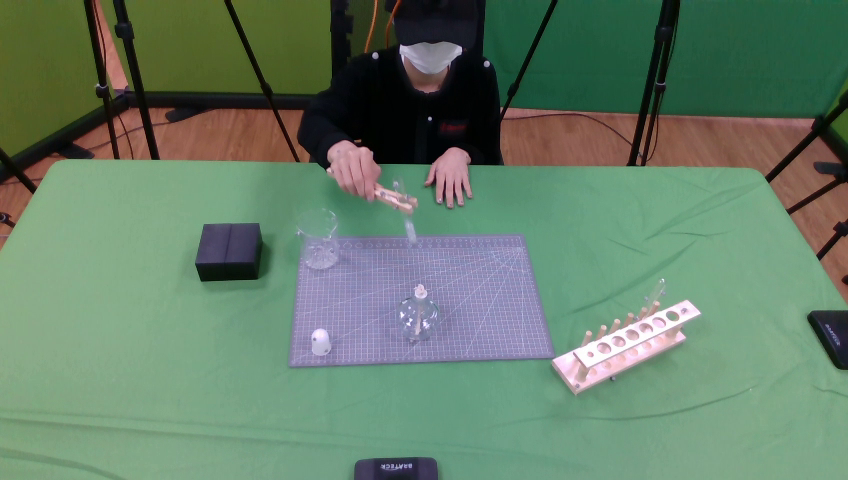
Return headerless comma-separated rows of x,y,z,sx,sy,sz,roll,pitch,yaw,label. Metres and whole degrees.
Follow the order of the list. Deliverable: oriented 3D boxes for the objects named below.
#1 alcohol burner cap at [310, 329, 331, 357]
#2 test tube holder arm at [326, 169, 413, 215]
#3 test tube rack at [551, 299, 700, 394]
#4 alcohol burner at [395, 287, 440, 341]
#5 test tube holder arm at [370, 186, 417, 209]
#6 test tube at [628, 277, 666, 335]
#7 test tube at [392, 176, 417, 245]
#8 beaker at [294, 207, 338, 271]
-0.173,0.168,1.005,0.034,0.048,0.033,2,46,-2,alcohol burner cap
-0.091,-0.080,0.979,0.177,0.015,0.013,25,55,26,test tube holder arm
0.339,0.166,1.021,0.242,0.085,0.066,-19,50,-21,test tube rack
-0.010,0.116,1.018,0.078,0.119,0.077,3,47,-3,alcohol burner
-0.051,-0.068,0.963,0.087,0.015,0.010,18,53,22,test tube holder arm
0.371,0.112,1.014,0.017,0.151,0.017,3,47,-3,test tube
-0.030,-0.043,0.967,0.017,0.151,0.017,-5,48,6,test tube
-0.196,0.003,1.123,0.074,0.101,0.083,-23,52,-24,beaker
